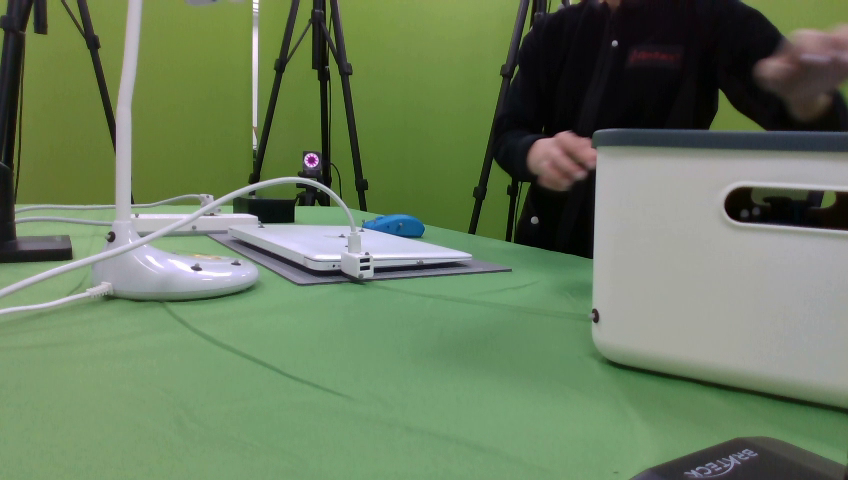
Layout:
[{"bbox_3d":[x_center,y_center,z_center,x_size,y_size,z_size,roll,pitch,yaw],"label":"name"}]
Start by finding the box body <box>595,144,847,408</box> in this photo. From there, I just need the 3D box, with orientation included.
[{"bbox_3d":[0.310,0.007,0.508,0.253,0.160,0.366,6,8,30],"label":"box body"}]

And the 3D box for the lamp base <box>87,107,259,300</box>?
[{"bbox_3d":[-0.254,-0.039,0.603,0.160,0.180,0.179,5,10,18],"label":"lamp base"}]

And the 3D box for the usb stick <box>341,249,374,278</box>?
[{"bbox_3d":[-0.078,0.026,0.686,0.021,0.027,0.059,-8,8,-30],"label":"usb stick"}]

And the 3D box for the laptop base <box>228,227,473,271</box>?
[{"bbox_3d":[-0.124,0.011,0.889,0.237,0.023,0.352,2,6,-35],"label":"laptop base"}]

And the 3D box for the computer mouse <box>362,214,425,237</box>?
[{"bbox_3d":[-0.057,-0.028,1.139,0.118,0.041,0.062,-2,9,-20],"label":"computer mouse"}]

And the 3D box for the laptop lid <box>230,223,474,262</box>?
[{"bbox_3d":[-0.121,0.000,0.888,0.243,0.013,0.355,1,7,-33],"label":"laptop lid"}]

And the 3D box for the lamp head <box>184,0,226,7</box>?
[{"bbox_3d":[-0.229,-0.320,0.627,0.112,0.112,0.123,6,-35,26],"label":"lamp head"}]

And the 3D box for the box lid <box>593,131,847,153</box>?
[{"bbox_3d":[0.311,-0.067,0.498,0.262,0.015,0.373,6,7,30],"label":"box lid"}]

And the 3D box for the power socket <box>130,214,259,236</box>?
[{"bbox_3d":[-0.397,-0.028,1.048,0.228,0.032,0.072,-3,7,-35],"label":"power socket"}]

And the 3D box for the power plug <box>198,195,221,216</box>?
[{"bbox_3d":[-0.386,-0.055,1.088,0.035,0.052,0.072,-1,6,-24],"label":"power plug"}]
